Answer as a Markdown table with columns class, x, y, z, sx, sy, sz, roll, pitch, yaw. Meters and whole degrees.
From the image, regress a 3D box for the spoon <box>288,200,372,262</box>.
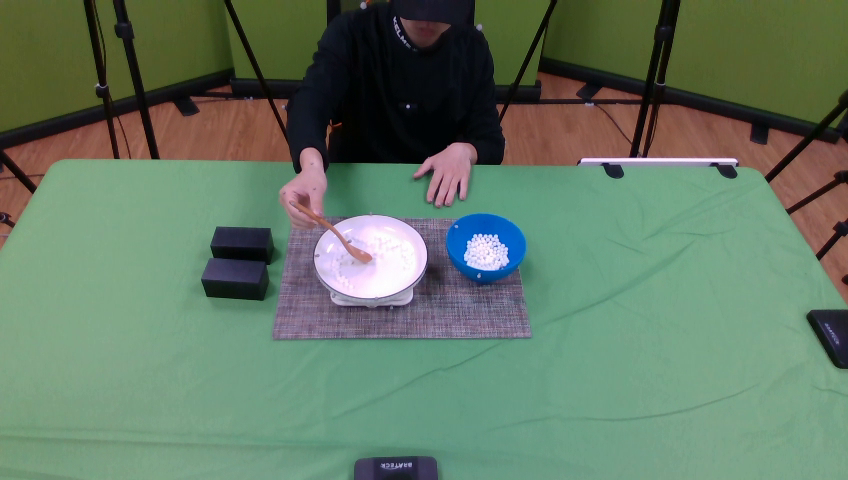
| class | x | y | z | sx | sy | sz | roll | pitch | yaw |
| --- | --- | --- | --- | --- | --- | --- | --- | --- | --- |
| spoon | -0.160 | -0.015 | 1.047 | 0.021 | 0.195 | 0.041 | -40 | 36 | 8 |

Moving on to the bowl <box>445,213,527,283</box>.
| class | x | y | z | sx | sy | sz | roll | pitch | yaw |
| --- | --- | --- | --- | --- | --- | --- | --- | --- | --- |
| bowl | 0.111 | 0.028 | 1.137 | 0.151 | 0.077 | 0.150 | 2 | 46 | -2 |

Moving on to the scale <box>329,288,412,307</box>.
| class | x | y | z | sx | sy | sz | roll | pitch | yaw |
| --- | --- | --- | --- | --- | --- | --- | --- | --- | --- |
| scale | -0.098 | 0.042 | 1.139 | 0.149 | 0.032 | 0.199 | 1 | 46 | -4 |

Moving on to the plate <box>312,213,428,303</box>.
| class | x | y | z | sx | sy | sz | roll | pitch | yaw |
| --- | --- | --- | --- | --- | --- | --- | --- | --- | --- |
| plate | -0.097 | 0.036 | 1.100 | 0.209 | 0.038 | 0.208 | 2 | 46 | -1 |
